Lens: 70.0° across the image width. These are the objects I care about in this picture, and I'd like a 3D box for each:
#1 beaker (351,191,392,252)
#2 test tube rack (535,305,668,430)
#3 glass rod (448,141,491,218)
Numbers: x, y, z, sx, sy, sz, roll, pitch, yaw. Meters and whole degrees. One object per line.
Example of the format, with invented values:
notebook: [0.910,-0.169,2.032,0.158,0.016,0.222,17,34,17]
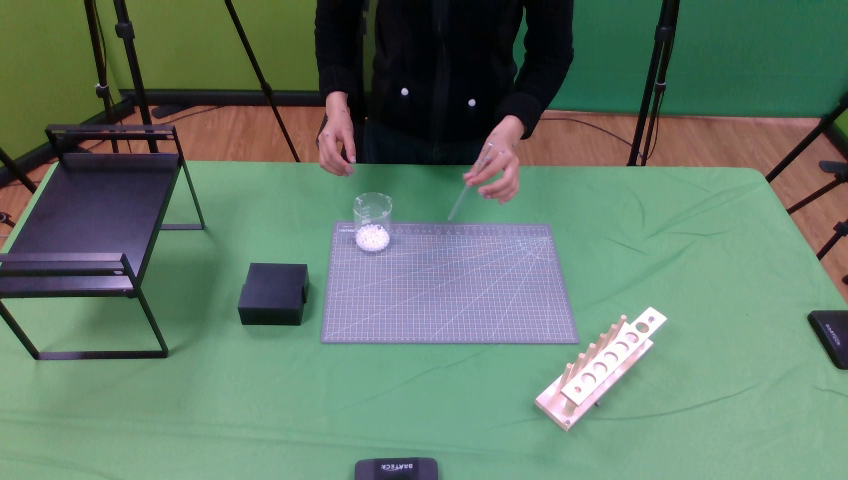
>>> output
beaker: [-0.097,-0.034,1.162,0.084,0.101,0.073,-29,55,-28]
test tube rack: [0.290,0.193,0.984,0.242,0.085,0.066,-32,56,-30]
glass rod: [0.079,-0.102,1.070,0.008,0.200,0.008,12,49,-14]
